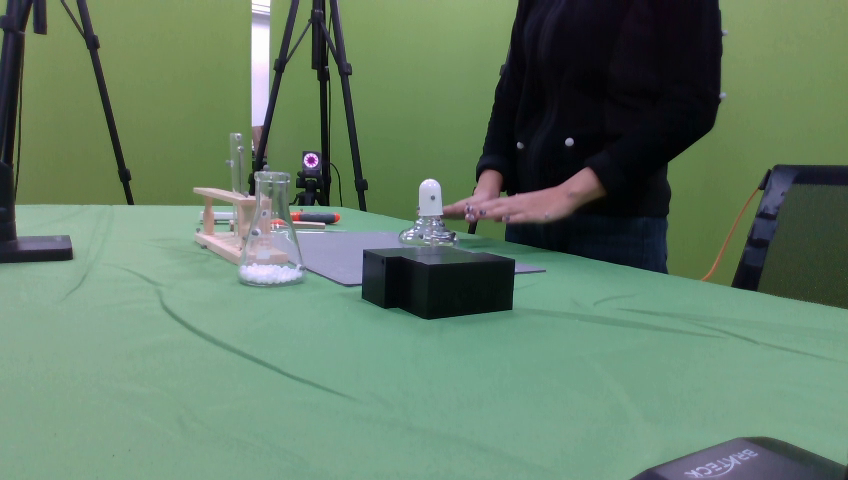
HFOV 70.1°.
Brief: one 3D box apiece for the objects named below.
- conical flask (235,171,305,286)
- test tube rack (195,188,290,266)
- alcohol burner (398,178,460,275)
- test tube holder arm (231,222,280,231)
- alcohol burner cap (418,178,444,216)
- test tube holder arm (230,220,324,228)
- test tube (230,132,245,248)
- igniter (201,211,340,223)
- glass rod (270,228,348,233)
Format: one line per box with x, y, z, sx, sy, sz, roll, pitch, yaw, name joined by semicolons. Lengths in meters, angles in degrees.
-0.168;-0.014;0.663;0.075;0.122;0.075;2;7;0;conical flask
-0.266;-0.025;0.864;0.067;0.085;0.241;-2;9;-33;test tube rack
0.007;-0.017;0.751;0.078;0.119;0.078;3;9;0;alcohol burner
-0.312;-0.025;1.118;0.088;0.015;0.010;-1;45;-30;test tube holder arm
0.007;-0.053;0.745;0.034;0.048;0.034;-3;6;1;alcohol burner cap
-0.275;-0.030;1.145;0.179;0.015;0.013;-3;46;-31;test tube holder arm
-0.242;-0.065;0.789;0.017;0.150;0.017;-1;7;0;test tube
-0.311;-0.048;1.243;0.278;0.025;0.057;-1;-2;-24;igniter
-0.234;-0.017;1.105;0.201;0.008;0.008;1;7;-26;glass rod
